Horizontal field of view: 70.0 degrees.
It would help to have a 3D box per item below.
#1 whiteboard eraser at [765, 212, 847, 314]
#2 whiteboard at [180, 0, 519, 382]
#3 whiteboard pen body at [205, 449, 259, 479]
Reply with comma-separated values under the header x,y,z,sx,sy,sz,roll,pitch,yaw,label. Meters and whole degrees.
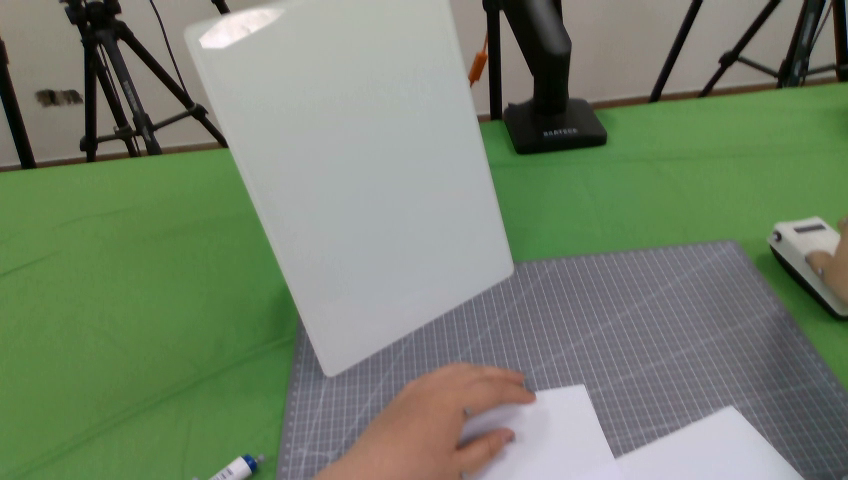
x,y,z,sx,sy,sz,roll,pitch,yaw,label
0.375,0.021,0.562,0.055,0.042,0.111,-11,40,-5,whiteboard eraser
-0.069,-0.070,0.566,0.217,0.307,0.142,-27,23,-22,whiteboard
-0.180,0.198,0.430,0.141,0.017,0.017,-34,47,-31,whiteboard pen body
